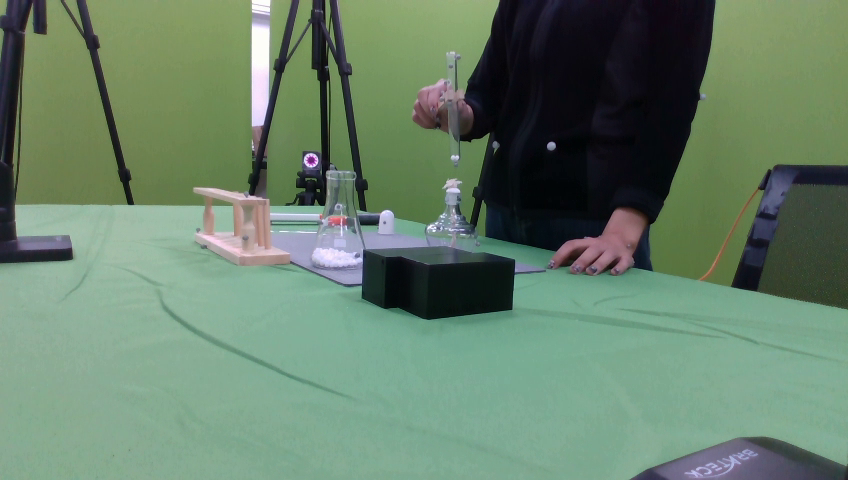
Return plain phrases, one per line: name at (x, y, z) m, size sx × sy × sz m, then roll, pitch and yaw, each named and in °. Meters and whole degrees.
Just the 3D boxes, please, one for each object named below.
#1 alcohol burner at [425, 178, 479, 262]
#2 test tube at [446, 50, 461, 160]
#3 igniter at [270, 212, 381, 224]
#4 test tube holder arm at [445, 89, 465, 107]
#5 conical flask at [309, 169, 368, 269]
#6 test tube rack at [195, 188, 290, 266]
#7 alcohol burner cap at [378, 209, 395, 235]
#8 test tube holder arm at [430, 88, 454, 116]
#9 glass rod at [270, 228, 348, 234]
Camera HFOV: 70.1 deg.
alcohol burner at (0.040, -0.028, 0.853) m, size 0.078 × 0.119 × 0.078 m, roll 2°, pitch 9°, yaw 0°
test tube at (0.041, -0.186, 0.839) m, size 0.017 × 0.150 × 0.017 m, roll -3°, pitch 3°, yaw 0°
igniter at (-0.213, -0.047, 1.278) m, size 0.278 × 0.025 × 0.057 m, roll -1°, pitch -2°, yaw -24°
test tube holder arm at (0.040, -0.202, 0.862) m, size 0.010 × 0.015 × 0.087 m, roll 0°, pitch 4°, yaw -16°
conical flask at (-0.107, -0.027, 0.762) m, size 0.075 × 0.122 × 0.075 m, roll 2°, pitch 7°, yaw 0°
test tube rack at (-0.266, -0.025, 0.864) m, size 0.067 × 0.085 × 0.241 m, roll -2°, pitch 9°, yaw -33°
alcohol burner cap at (-0.070, -0.034, 1.144) m, size 0.034 × 0.048 × 0.034 m, roll 2°, pitch 8°, yaw 0°
test tube holder arm at (0.025, -0.205, 0.905) m, size 0.013 × 0.015 × 0.178 m, roll 1°, pitch 4°, yaw -9°
glass rod at (-0.234, -0.017, 1.105) m, size 0.201 × 0.008 × 0.008 m, roll 1°, pitch 6°, yaw -26°
